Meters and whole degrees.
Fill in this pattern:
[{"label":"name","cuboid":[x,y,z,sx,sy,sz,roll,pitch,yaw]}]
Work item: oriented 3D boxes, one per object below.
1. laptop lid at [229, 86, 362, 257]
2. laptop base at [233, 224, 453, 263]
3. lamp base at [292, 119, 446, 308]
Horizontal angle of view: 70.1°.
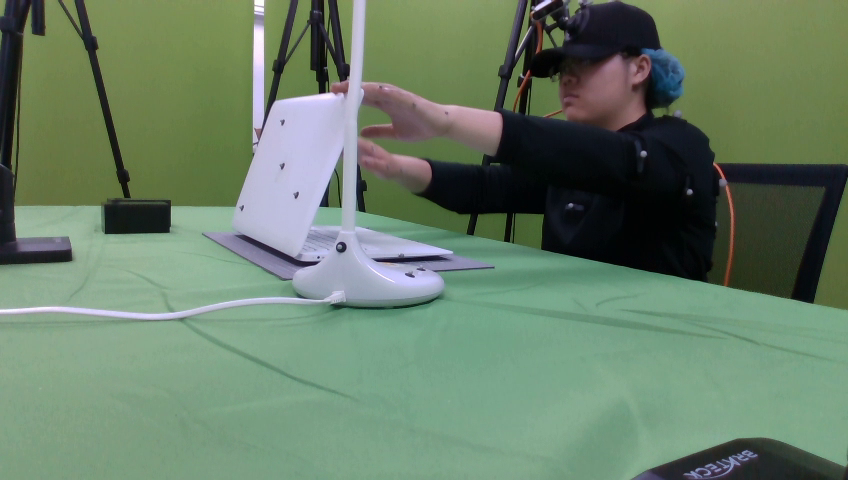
[{"label":"laptop lid","cuboid":[-0.207,-0.109,0.900,0.013,0.241,0.355,22,-3,-32]},{"label":"laptop base","cuboid":[-0.143,0.003,0.957,0.237,0.023,0.352,2,7,-32]},{"label":"lamp base","cuboid":[-0.056,-0.030,0.616,0.160,0.180,0.179,3,10,8]}]
